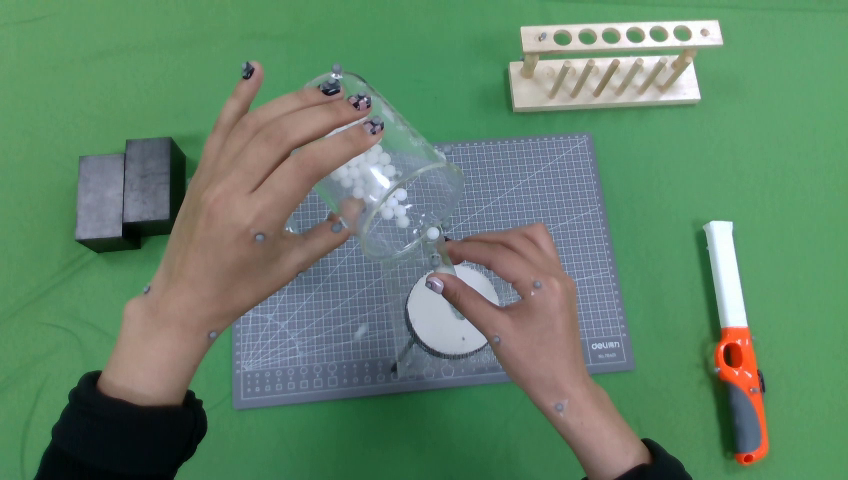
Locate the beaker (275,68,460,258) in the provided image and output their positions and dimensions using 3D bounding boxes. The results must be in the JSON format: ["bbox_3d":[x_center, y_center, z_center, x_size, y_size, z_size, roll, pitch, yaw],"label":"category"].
[{"bbox_3d":[-0.036,-0.049,0.368,0.074,0.084,0.099,-43,66,3],"label":"beaker"}]

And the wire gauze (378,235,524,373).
[{"bbox_3d":[0.025,0.058,0.567,0.125,0.011,0.120,-6,73,-5],"label":"wire gauze"}]

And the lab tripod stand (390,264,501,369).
[{"bbox_3d":[0.020,0.080,0.631,0.148,0.132,0.147,0,73,-1],"label":"lab tripod stand"}]

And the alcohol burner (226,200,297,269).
[{"bbox_3d":[-0.179,-0.012,0.656,0.078,0.120,0.077,1,72,-2],"label":"alcohol burner"}]

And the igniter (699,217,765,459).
[{"bbox_3d":[0.354,0.107,0.699,0.057,0.025,0.275,2,74,-13],"label":"igniter"}]

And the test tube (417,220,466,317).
[{"bbox_3d":[0.016,0.026,0.451,0.017,0.151,0.017,-5,63,9],"label":"test tube"}]

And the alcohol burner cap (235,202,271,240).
[{"bbox_3d":[-0.176,-0.021,0.621,0.034,0.048,0.033,2,76,-7],"label":"alcohol burner cap"}]

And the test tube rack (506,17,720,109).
[{"bbox_3d":[0.232,-0.219,0.754,0.242,0.085,0.066,-3,74,-4],"label":"test tube rack"}]
